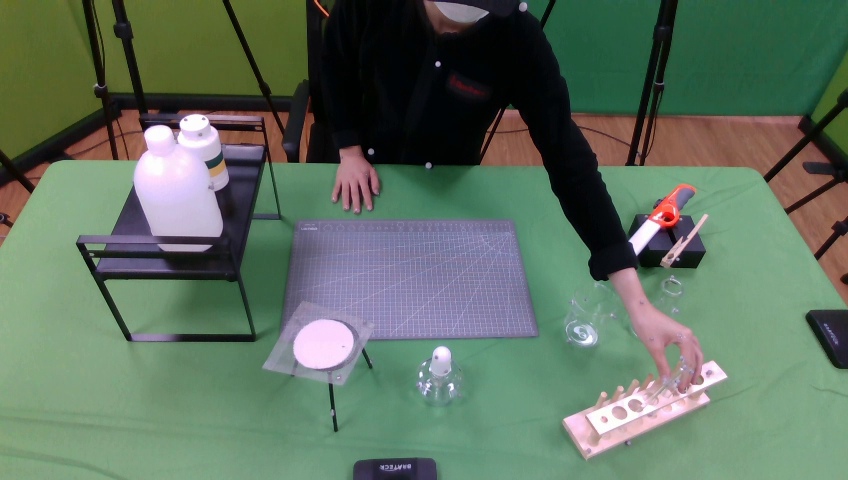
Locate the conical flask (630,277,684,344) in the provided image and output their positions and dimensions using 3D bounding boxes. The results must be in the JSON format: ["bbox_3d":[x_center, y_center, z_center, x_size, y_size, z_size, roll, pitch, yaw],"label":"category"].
[{"bbox_3d":[0.409,0.117,1.045,0.075,0.122,0.075,2,46,-2],"label":"conical flask"}]

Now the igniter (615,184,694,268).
[{"bbox_3d":[0.459,-0.035,1.196,0.057,0.025,0.276,32,55,27],"label":"igniter"}]

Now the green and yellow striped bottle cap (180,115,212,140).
[{"bbox_3d":[-0.358,-0.177,0.951,0.045,0.020,0.045,1,45,-1],"label":"green and yellow striped bottle cap"}]

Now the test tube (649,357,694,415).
[{"bbox_3d":[0.363,0.220,0.898,0.017,0.151,0.017,3,47,-3],"label":"test tube"}]

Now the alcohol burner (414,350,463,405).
[{"bbox_3d":[0.023,0.205,0.939,0.078,0.120,0.077,1,48,-1],"label":"alcohol burner"}]

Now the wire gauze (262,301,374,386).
[{"bbox_3d":[-0.150,0.148,0.873,0.121,0.011,0.124,14,46,12],"label":"wire gauze"}]

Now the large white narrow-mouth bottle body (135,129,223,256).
[{"bbox_3d":[-0.358,-0.075,0.874,0.102,0.195,0.101,1,44,-1],"label":"large white narrow-mouth bottle body"}]

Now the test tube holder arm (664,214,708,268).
[{"bbox_3d":[0.507,0.000,1.170,0.013,0.015,0.178,35,54,26],"label":"test tube holder arm"}]

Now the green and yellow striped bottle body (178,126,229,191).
[{"bbox_3d":[-0.361,-0.142,0.989,0.063,0.120,0.063,2,46,-2],"label":"green and yellow striped bottle body"}]

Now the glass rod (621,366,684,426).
[{"bbox_3d":[0.322,0.227,0.866,0.008,0.200,0.008,6,51,-7],"label":"glass rod"}]

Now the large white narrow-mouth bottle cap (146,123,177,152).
[{"bbox_3d":[-0.355,-0.138,0.815,0.038,0.024,0.037,2,44,-1],"label":"large white narrow-mouth bottle cap"}]

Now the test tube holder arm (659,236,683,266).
[{"bbox_3d":[0.473,0.020,1.149,0.010,0.015,0.088,36,54,26],"label":"test tube holder arm"}]

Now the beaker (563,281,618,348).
[{"bbox_3d":[0.283,0.129,1.041,0.074,0.101,0.083,11,46,7],"label":"beaker"}]

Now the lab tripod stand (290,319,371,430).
[{"bbox_3d":[-0.146,0.194,0.923,0.148,0.132,0.147,1,47,-1],"label":"lab tripod stand"}]

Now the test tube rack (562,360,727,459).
[{"bbox_3d":[0.341,0.247,0.940,0.243,0.085,0.066,-16,50,-18],"label":"test tube rack"}]

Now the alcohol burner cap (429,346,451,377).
[{"bbox_3d":[0.026,0.180,0.912,0.034,0.048,0.033,2,47,-1],"label":"alcohol burner cap"}]
